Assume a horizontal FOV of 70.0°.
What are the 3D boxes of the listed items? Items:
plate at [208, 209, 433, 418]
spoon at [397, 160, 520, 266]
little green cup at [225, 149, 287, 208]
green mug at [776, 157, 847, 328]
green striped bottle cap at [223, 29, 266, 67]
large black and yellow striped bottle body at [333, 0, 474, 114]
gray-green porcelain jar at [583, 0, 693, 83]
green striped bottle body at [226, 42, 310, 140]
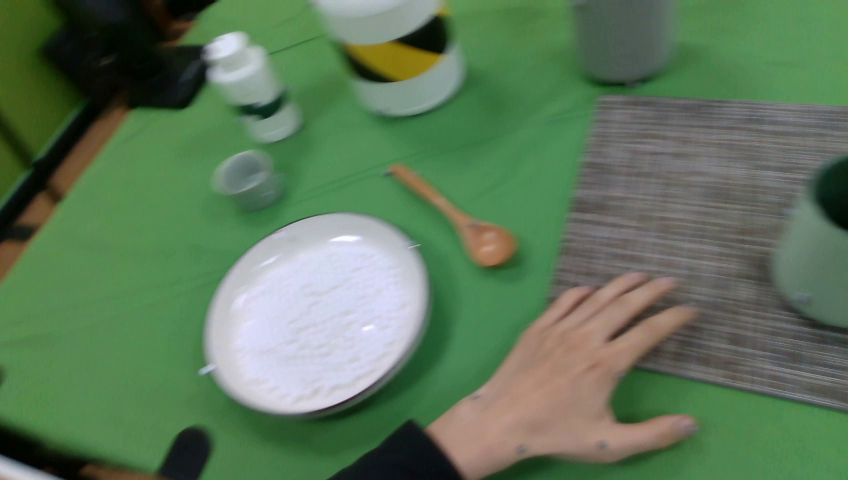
[{"bbox_3d":[-0.090,0.064,0.550,0.209,0.038,0.207,-8,53,11],"label":"plate"},{"bbox_3d":[0.027,-0.035,0.596,0.041,0.022,0.191,-49,54,4],"label":"spoon"},{"bbox_3d":[-0.184,-0.067,0.673,0.061,0.039,0.061,-8,52,11],"label":"little green cup"},{"bbox_3d":[0.319,0.010,0.417,0.124,0.106,0.092,32,68,33],"label":"green mug"},{"bbox_3d":[-0.197,-0.210,0.663,0.044,0.020,0.044,-6,55,10],"label":"green striped bottle cap"},{"bbox_3d":[-0.024,-0.246,0.663,0.130,0.186,0.129,-8,53,11],"label":"large black and yellow striped bottle body"},{"bbox_3d":[0.218,-0.235,0.619,0.105,0.128,0.105,-8,53,11],"label":"gray-green porcelain jar"},{"bbox_3d":[-0.184,-0.179,0.703,0.063,0.120,0.062,-8,52,12],"label":"green striped bottle body"}]
